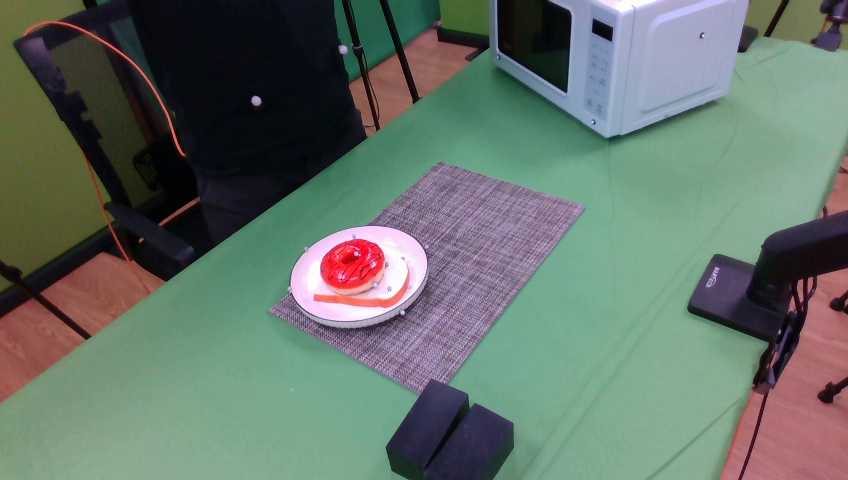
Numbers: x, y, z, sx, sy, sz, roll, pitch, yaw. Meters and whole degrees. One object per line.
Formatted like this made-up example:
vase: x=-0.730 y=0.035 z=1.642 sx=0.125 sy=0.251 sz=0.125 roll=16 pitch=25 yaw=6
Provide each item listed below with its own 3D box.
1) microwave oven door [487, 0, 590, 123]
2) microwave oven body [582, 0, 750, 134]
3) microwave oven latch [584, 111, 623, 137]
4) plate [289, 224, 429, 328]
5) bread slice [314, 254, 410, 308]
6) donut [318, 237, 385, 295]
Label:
microwave oven door: x=0.232 y=-0.420 z=1.231 sx=0.039 sy=0.245 sz=0.352 roll=-22 pitch=43 yaw=-16
microwave oven body: x=0.382 y=-0.444 z=1.246 sx=0.327 sy=0.261 sz=0.437 roll=-22 pitch=42 yaw=-16
microwave oven latch: x=0.337 y=-0.222 z=1.142 sx=0.030 sy=0.029 sz=0.078 roll=-21 pitch=42 yaw=-14
plate: x=-0.094 y=0.055 z=0.902 sx=0.207 sy=0.039 sz=0.206 roll=-4 pitch=41 yaw=4
bread slice: x=-0.087 y=0.057 z=0.901 sx=0.131 sy=0.019 sz=0.104 roll=4 pitch=43 yaw=15
donut: x=-0.105 y=0.037 z=0.880 sx=0.099 sy=0.048 sz=0.098 roll=-6 pitch=42 yaw=6
